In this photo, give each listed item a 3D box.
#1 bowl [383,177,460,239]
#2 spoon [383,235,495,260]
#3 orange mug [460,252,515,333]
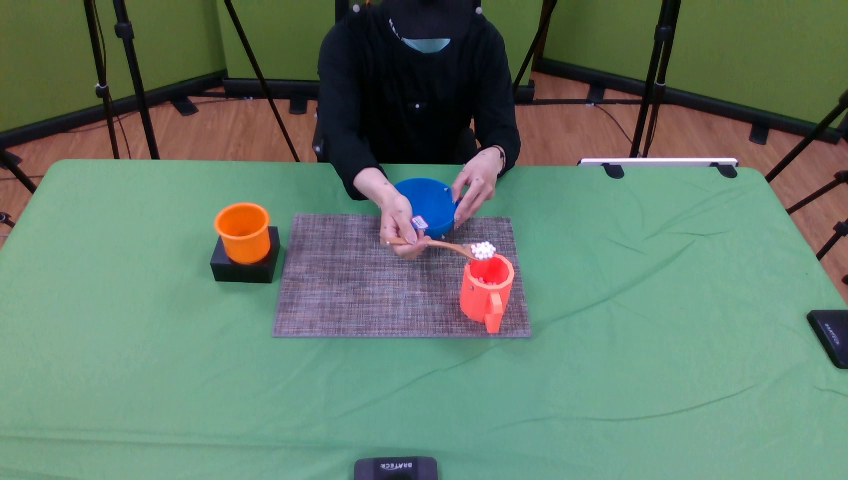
[{"bbox_3d":[-0.006,-0.047,1.197,0.151,0.077,0.150,2,46,-1],"label":"bowl"},{"bbox_3d":[0.027,0.007,1.004,0.194,0.022,0.041,10,49,-19],"label":"spoon"},{"bbox_3d":[0.114,0.095,1.053,0.083,0.101,0.125,-5,41,-8],"label":"orange mug"}]
